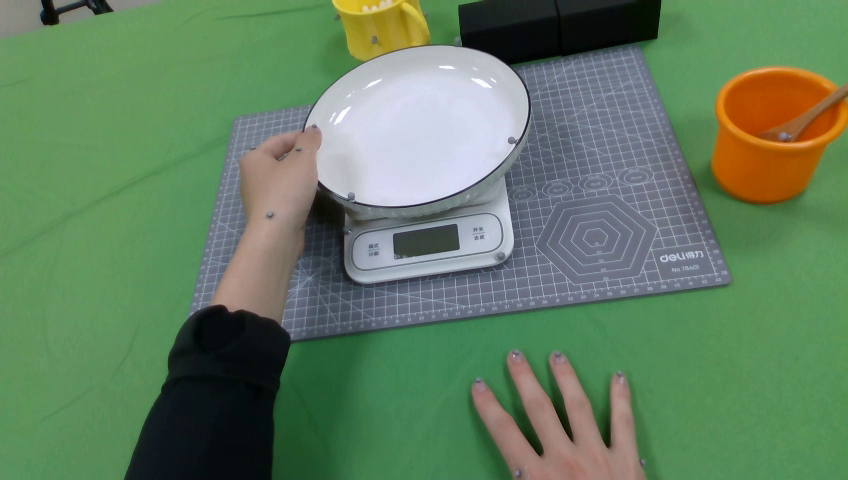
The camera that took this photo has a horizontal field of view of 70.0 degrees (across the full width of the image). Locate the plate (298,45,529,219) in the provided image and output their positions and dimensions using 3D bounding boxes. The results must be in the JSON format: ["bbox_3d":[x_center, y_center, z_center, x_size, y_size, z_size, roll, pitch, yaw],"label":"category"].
[{"bbox_3d":[-0.009,-0.097,0.551,0.209,0.038,0.207,-6,53,8],"label":"plate"}]

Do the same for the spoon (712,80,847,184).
[{"bbox_3d":[0.304,-0.103,0.450,0.022,0.194,0.041,16,50,-30],"label":"spoon"}]

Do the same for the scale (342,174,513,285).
[{"bbox_3d":[-0.001,-0.055,0.559,0.148,0.032,0.199,-9,53,8],"label":"scale"}]

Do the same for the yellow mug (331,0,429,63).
[{"bbox_3d":[-0.041,-0.256,0.701,0.129,0.064,0.100,35,69,32],"label":"yellow mug"}]
